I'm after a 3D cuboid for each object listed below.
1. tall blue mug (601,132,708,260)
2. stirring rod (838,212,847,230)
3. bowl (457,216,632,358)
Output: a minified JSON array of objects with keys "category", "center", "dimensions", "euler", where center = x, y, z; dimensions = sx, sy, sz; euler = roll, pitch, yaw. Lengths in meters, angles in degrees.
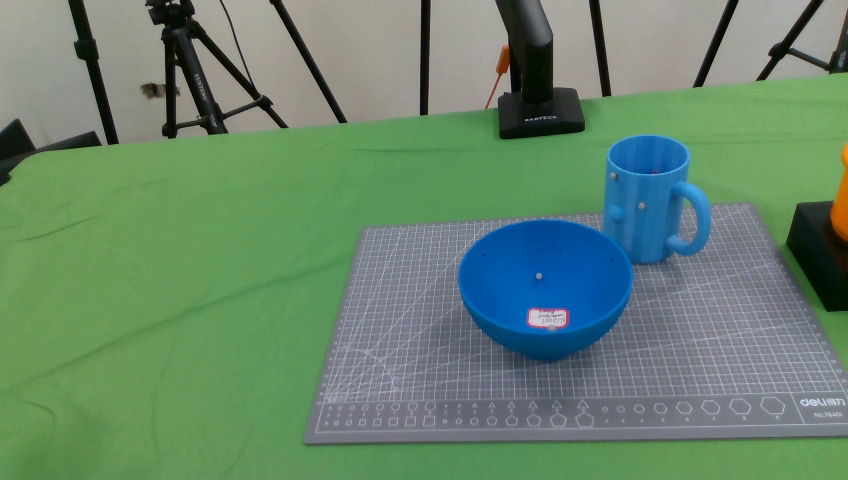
[{"category":"tall blue mug","center":[0.235,-0.041,0.612],"dimensions":[0.106,0.109,0.077],"euler":[14,44,27]},{"category":"stirring rod","center":[0.429,-0.071,0.507],"dimensions":[0.176,0.006,0.014],"euler":[-47,33,23]},{"category":"bowl","center":[0.108,0.053,0.550],"dimensions":[0.151,0.077,0.150],"euler":[-6,39,5]}]
